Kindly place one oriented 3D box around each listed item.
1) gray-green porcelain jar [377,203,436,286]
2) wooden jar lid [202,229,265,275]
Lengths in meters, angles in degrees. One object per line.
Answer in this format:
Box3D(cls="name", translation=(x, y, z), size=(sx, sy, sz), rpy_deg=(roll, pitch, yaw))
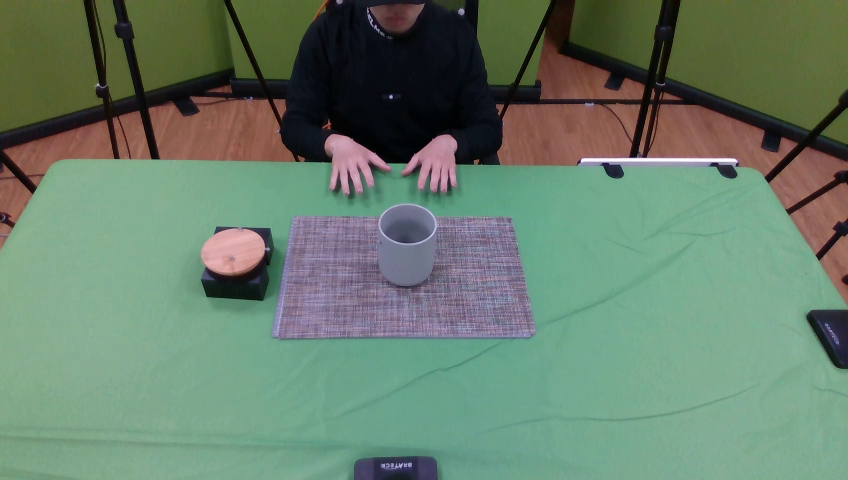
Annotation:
Box3D(cls="gray-green porcelain jar", translation=(-0.033, 0.014, 1.106), size=(0.106, 0.127, 0.105), rpy_deg=(2, 46, -2))
Box3D(cls="wooden jar lid", translation=(-0.340, 0.023, 1.084), size=(0.108, 0.021, 0.107), rpy_deg=(3, 45, -2))
